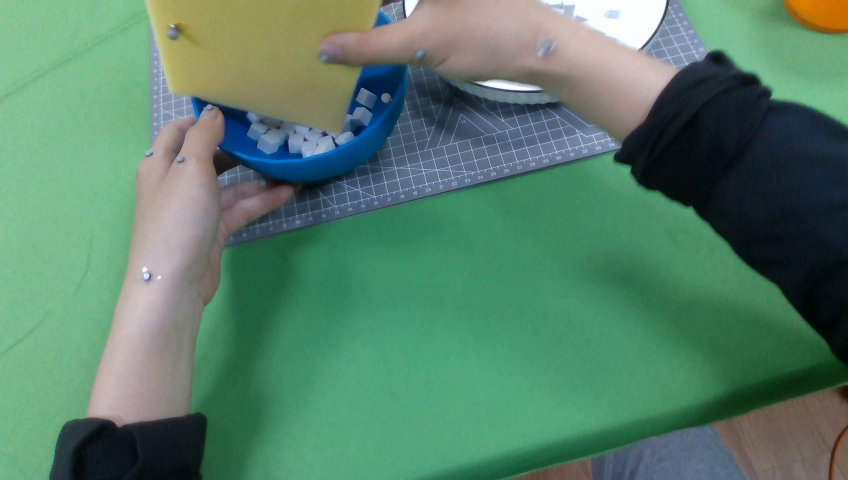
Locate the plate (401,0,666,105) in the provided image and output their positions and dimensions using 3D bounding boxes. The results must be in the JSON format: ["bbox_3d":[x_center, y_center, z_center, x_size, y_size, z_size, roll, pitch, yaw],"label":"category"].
[{"bbox_3d":[0.085,-0.190,0.494,0.209,0.038,0.207,-3,64,6],"label":"plate"}]

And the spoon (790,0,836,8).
[{"bbox_3d":[0.355,-0.238,0.425,0.022,0.194,0.041,3,58,-42],"label":"spoon"}]

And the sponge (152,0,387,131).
[{"bbox_3d":[-0.084,-0.143,0.339,0.118,0.207,0.060,8,72,-13],"label":"sponge"}]

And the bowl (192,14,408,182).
[{"bbox_3d":[-0.081,-0.097,0.446,0.151,0.077,0.150,-3,64,6],"label":"bowl"}]
